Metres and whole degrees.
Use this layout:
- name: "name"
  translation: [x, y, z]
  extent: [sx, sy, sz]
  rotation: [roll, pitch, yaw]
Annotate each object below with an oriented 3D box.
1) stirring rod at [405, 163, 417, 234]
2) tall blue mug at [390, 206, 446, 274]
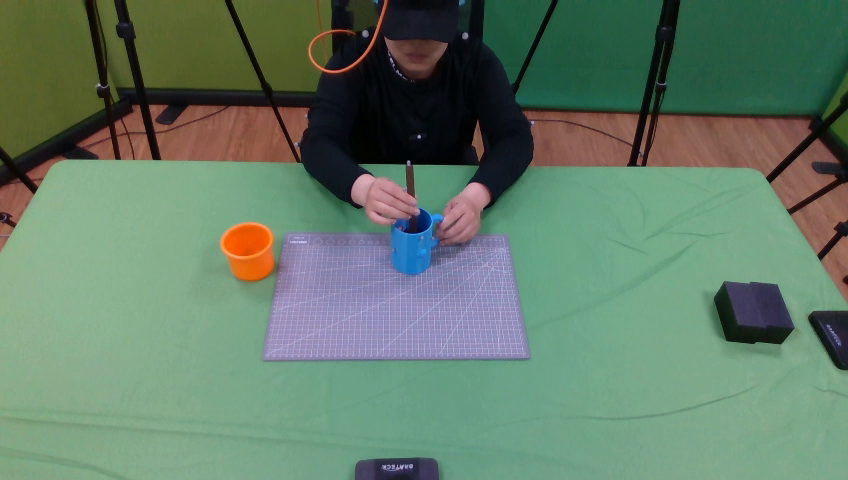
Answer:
- name: "stirring rod"
  translation: [-0.022, -0.058, 1.070]
  extent: [0.014, 0.177, 0.006]
  rotation: [4, 38, 9]
- name: "tall blue mug"
  translation: [-0.017, -0.008, 1.142]
  extent: [0.077, 0.108, 0.107]
  rotation: [23, 49, 19]
